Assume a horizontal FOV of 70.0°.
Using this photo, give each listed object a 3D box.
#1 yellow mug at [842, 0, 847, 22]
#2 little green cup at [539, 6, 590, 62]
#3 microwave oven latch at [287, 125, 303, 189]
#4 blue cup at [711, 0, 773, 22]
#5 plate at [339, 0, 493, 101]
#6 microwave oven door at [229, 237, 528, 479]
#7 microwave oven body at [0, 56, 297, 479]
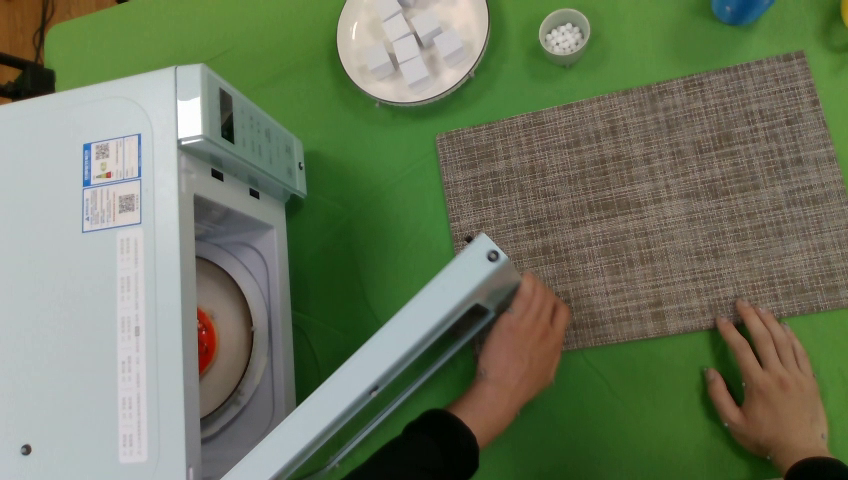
[{"bbox_3d":[0.522,-0.268,0.669,0.099,0.064,0.131,39,92,15],"label":"yellow mug"},{"bbox_3d":[0.177,-0.256,0.760,0.061,0.039,0.061,-2,80,13],"label":"little green cup"},{"bbox_3d":[-0.177,-0.108,0.798,0.030,0.029,0.079,-5,81,11],"label":"microwave oven latch"},{"bbox_3d":[0.372,-0.300,0.690,0.092,0.101,0.092,-2,82,12],"label":"blue cup"},{"bbox_3d":[-0.010,-0.280,0.806,0.207,0.039,0.207,-2,81,13],"label":"plate"},{"bbox_3d":[-0.041,0.141,0.623,0.356,0.245,0.039,-43,74,3],"label":"microwave oven door"},{"bbox_3d":[-0.325,0.070,0.704,0.325,0.261,0.440,-8,80,11],"label":"microwave oven body"}]
